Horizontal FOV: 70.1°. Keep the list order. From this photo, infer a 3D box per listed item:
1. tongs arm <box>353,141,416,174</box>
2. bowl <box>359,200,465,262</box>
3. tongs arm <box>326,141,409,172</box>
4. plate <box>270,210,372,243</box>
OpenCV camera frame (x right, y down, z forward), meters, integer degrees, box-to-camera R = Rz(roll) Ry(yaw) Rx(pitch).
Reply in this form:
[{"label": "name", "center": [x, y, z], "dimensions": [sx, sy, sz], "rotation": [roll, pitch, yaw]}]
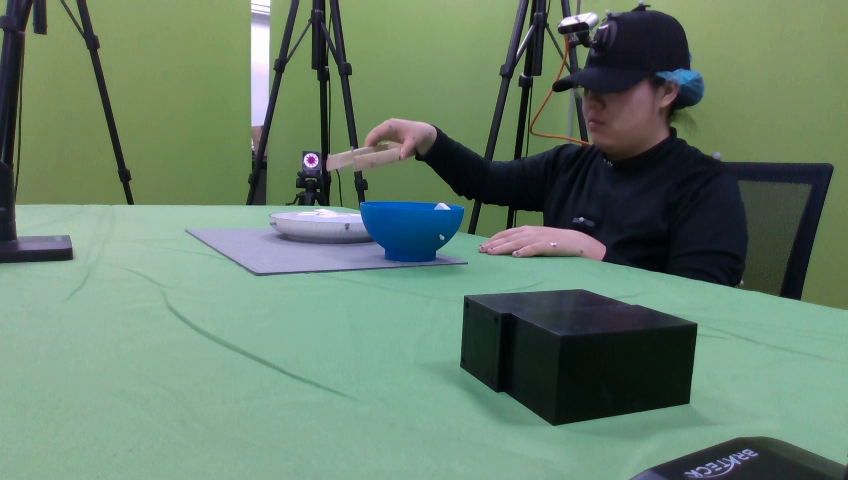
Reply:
[{"label": "tongs arm", "center": [-0.067, -0.161, 1.154], "dimensions": [0.028, 0.028, 0.388], "rotation": [1, 13, 14]}, {"label": "bowl", "center": [-0.018, -0.013, 0.859], "dimensions": [0.151, 0.077, 0.151], "rotation": [2, 7, 0]}, {"label": "tongs arm", "center": [-0.096, -0.164, 1.160], "dimensions": [0.050, 0.026, 0.385], "rotation": [4, 14, 11]}, {"label": "plate", "center": [-0.161, -0.023, 1.054], "dimensions": [0.208, 0.039, 0.207], "rotation": [2, 7, 0]}]
